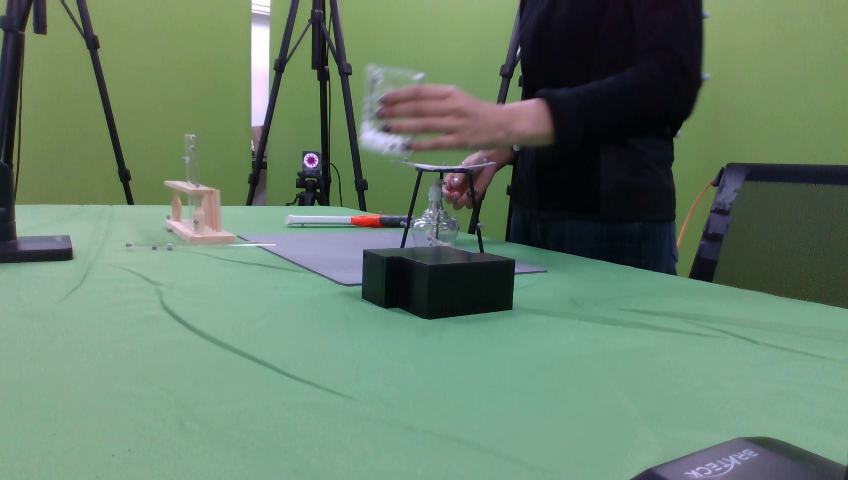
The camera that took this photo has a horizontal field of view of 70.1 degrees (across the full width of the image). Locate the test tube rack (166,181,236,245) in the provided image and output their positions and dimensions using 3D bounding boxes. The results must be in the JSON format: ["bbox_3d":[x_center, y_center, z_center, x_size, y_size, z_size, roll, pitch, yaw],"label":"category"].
[{"bbox_3d":[-0.383,-0.051,1.024,0.067,0.085,0.241,-2,9,-31],"label":"test tube rack"}]

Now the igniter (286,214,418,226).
[{"bbox_3d":[-0.145,-0.043,1.263,0.278,0.025,0.057,-1,-2,-24],"label":"igniter"}]

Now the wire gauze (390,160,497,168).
[{"bbox_3d":[0.028,-0.116,0.919,0.122,0.011,0.124,-4,9,-34],"label":"wire gauze"}]

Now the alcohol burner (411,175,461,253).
[{"bbox_3d":[0.018,-0.040,0.931,0.078,0.119,0.078,0,7,0],"label":"alcohol burner"}]

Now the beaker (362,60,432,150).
[{"bbox_3d":[-0.038,-0.166,0.749,0.083,0.100,0.074,18,16,34],"label":"beaker"}]

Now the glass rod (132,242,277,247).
[{"bbox_3d":[-0.316,0.007,0.884,0.201,0.008,0.008,0,7,-27],"label":"glass rod"}]

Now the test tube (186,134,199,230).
[{"bbox_3d":[-0.360,-0.089,0.946,0.017,0.150,0.017,0,10,0],"label":"test tube"}]

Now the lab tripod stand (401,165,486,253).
[{"bbox_3d":[0.027,-0.049,0.930,0.148,0.131,0.148,2,9,0],"label":"lab tripod stand"}]

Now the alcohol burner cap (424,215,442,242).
[{"bbox_3d":[0.017,-0.022,1.098,0.034,0.048,0.034,2,8,0],"label":"alcohol burner cap"}]
